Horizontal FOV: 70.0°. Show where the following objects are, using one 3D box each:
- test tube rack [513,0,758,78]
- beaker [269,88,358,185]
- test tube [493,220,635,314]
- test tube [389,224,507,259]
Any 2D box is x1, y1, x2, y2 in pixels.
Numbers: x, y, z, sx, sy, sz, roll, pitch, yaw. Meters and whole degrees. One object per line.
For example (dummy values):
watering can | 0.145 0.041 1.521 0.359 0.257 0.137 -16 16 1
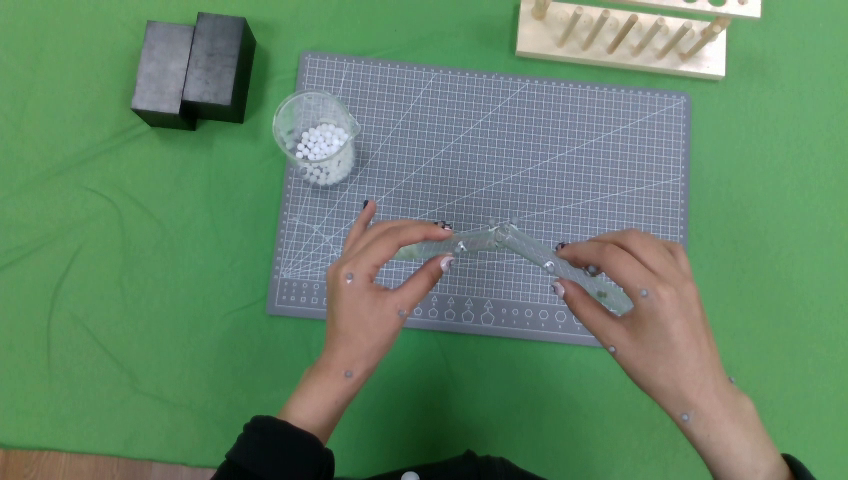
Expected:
test tube rack | 0.228 -0.242 0.672 0.242 0.085 0.066 6 80 -1
beaker | -0.107 -0.101 0.623 0.084 0.100 0.073 -2 81 -3
test tube | 0.109 0.023 0.452 0.152 0.017 0.017 28 78 -29
test tube | 0.013 0.003 0.485 0.017 0.149 0.017 4 82 -33
